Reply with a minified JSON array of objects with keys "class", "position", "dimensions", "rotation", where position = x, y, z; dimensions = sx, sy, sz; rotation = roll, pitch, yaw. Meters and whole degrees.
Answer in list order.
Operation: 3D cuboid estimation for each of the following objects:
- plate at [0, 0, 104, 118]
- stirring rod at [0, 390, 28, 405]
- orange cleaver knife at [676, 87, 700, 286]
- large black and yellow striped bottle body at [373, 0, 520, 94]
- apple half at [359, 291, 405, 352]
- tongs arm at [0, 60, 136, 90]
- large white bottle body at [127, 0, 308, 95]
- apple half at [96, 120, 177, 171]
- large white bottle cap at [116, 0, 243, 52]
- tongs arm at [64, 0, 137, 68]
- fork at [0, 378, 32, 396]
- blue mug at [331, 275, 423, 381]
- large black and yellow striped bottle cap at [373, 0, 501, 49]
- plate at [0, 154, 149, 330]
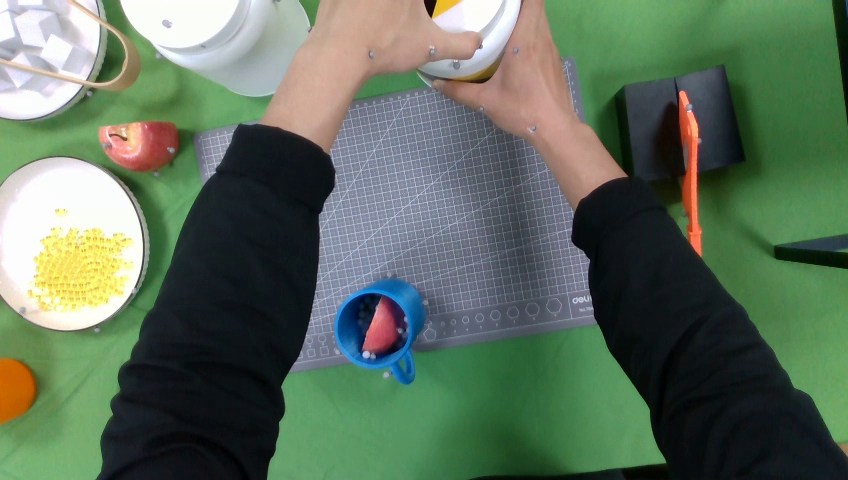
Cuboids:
[{"class":"plate","position":[-0.472,-0.247,0.716],"dimensions":[0.207,0.039,0.207],"rotation":[0,94,6]},{"class":"stirring rod","position":[-0.564,0.197,0.701],"dimensions":[0.177,0.006,0.014],"rotation":[-4,82,-34]},{"class":"orange cleaver knife","position":[0.274,-0.051,0.632],"dimensions":[0.012,0.076,0.213],"rotation":[-8,119,15]},{"class":"large black and yellow striped bottle body","position":[0.026,-0.223,0.590],"dimensions":[0.130,0.184,0.131],"rotation":[1,93,11]},{"class":"apple half","position":[-0.037,0.089,0.653],"dimensions":[0.032,0.081,0.081],"rotation":[21,95,12]},{"class":"tongs arm","position":[-0.512,-0.231,0.689],"dimensions":[0.384,0.026,0.051],"rotation":[19,92,6]},{"class":"large white bottle body","position":[-0.206,-0.229,0.617],"dimensions":[0.130,0.184,0.130],"rotation":[0,93,6]},{"class":"apple half","position":[-0.324,-0.106,0.694],"dimensions":[0.081,0.074,0.053],"rotation":[-6,96,2]},{"class":"large white bottle cap","position":[-0.216,-0.225,0.533],"dimensions":[0.115,0.018,0.115],"rotation":[0,93,6]},{"class":"tongs arm","position":[-0.479,-0.307,0.682],"dimensions":[0.387,0.028,0.028],"rotation":[33,90,5]},{"class":"fork","position":[-0.576,0.179,0.699],"dimensions":[0.209,0.018,0.028],"rotation":[4,94,-38]},{"class":"blue mug","position":[-0.040,0.098,0.660],"dimensions":[0.082,0.106,0.116],"rotation":[-25,91,7]},{"class":"large black and yellow striped bottle cap","position":[0.010,-0.220,0.508],"dimensions":[0.115,0.019,0.115],"rotation":[1,95,9]},{"class":"plate","position":[-0.425,0.002,0.728],"dimensions":[0.209,0.038,0.209],"rotation":[0,94,6]}]
